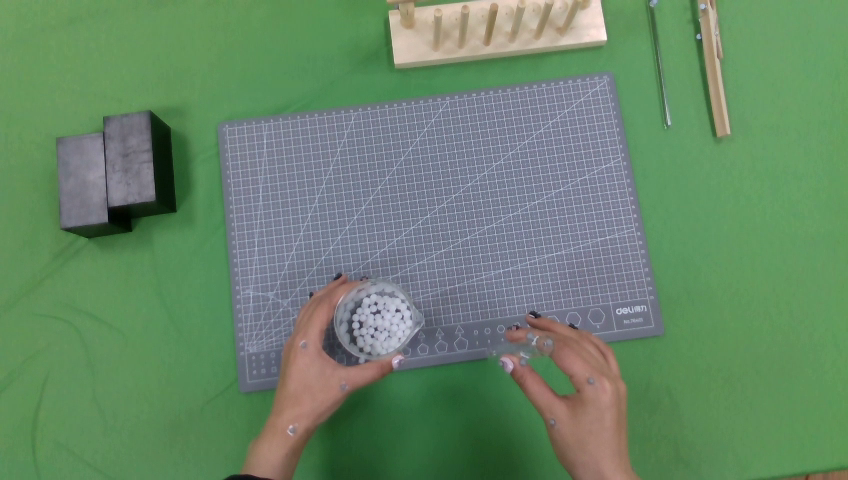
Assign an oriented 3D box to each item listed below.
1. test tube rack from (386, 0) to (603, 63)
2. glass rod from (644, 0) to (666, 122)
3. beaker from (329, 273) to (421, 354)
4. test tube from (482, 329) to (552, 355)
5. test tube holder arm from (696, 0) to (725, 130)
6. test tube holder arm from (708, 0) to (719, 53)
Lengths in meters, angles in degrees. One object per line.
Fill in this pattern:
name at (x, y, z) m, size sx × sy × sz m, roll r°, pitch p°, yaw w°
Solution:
test tube rack at (0.079, -0.256, 0.660) m, size 0.242 × 0.085 × 0.066 m, roll -7°, pitch 80°, yaw -1°
glass rod at (0.261, -0.230, 0.693) m, size 0.008 × 0.008 × 0.199 m, roll -3°, pitch 81°, yaw 0°
beaker at (-0.045, 0.076, 0.596) m, size 0.084 × 0.100 × 0.073 m, roll 1°, pitch 79°, yaw -1°
test tube at (0.074, 0.088, 0.512) m, size 0.017 × 0.150 × 0.017 m, roll 2°, pitch 78°, yaw -9°
test tube holder arm at (0.321, -0.210, 0.682) m, size 0.013 × 0.015 × 0.177 m, roll 4°, pitch 80°, yaw -29°
test tube holder arm at (0.325, -0.254, 0.692) m, size 0.010 × 0.015 × 0.087 m, roll 4°, pitch 79°, yaw -28°
